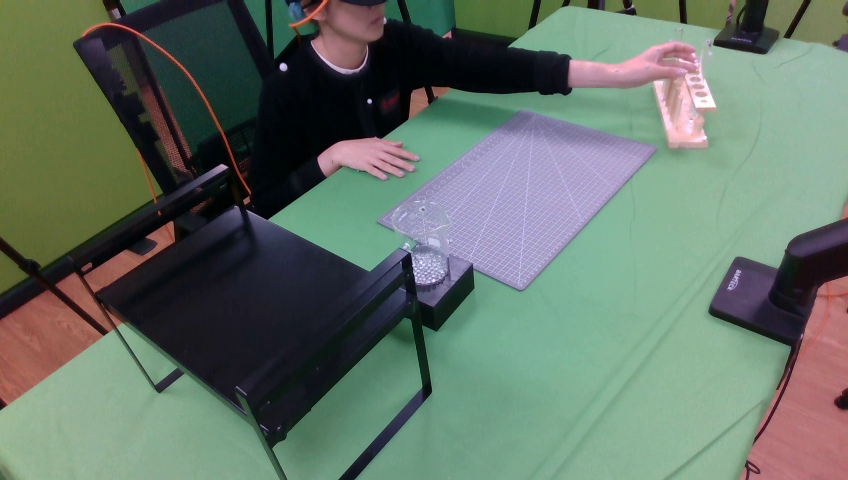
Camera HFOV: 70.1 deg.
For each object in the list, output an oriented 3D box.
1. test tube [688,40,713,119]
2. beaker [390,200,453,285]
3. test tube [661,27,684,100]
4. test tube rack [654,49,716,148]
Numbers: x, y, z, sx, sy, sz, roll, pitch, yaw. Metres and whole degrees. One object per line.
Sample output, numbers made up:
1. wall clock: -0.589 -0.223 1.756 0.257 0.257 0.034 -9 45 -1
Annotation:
1. test tube: 0.507 -0.292 1.111 0.017 0.151 0.017 -3 37 3
2. beaker: 0.002 0.006 0.831 0.084 0.101 0.074 5 42 13
3. test tube: 0.486 -0.342 1.181 0.017 0.151 0.017 -3 42 3
4. test tube rack: 0.502 -0.281 1.176 0.066 0.085 0.241 2 41 11
